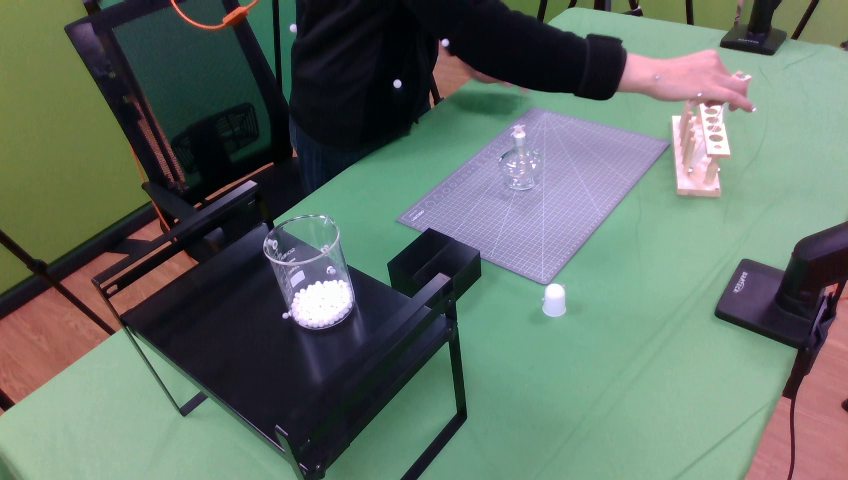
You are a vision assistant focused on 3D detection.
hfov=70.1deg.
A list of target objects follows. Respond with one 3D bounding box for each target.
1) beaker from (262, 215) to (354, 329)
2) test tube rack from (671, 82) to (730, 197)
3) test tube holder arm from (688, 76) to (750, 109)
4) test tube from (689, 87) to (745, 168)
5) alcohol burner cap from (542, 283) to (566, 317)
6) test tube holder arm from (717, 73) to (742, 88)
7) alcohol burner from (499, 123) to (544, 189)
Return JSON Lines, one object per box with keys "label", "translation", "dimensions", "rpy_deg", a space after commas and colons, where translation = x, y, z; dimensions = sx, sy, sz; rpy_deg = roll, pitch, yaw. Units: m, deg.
{"label": "beaker", "translation": [-0.112, 0.034, 0.616], "dimensions": [0.073, 0.101, 0.084], "rpy_deg": [13, 44, 23]}
{"label": "test tube rack", "translation": [0.482, -0.184, 1.067], "dimensions": [0.066, 0.085, 0.242], "rpy_deg": [6, 42, 15]}
{"label": "test tube holder arm", "translation": [0.427, -0.214, 0.871], "dimensions": [0.179, 0.015, 0.013], "rpy_deg": [-26, 48, -37]}
{"label": "test tube", "translation": [0.484, -0.187, 1.005], "dimensions": [0.017, 0.150, 0.017], "rpy_deg": [20, 24, -9]}
{"label": "alcohol burner cap", "translation": [0.181, 0.080, 0.840], "dimensions": [0.034, 0.048, 0.033], "rpy_deg": [-4, 41, 4]}
{"label": "test tube holder arm", "translation": [0.454, -0.233, 0.902], "dimensions": [0.010, 0.015, 0.088], "rpy_deg": [32, 42, 28]}
{"label": "alcohol burner", "translation": [0.168, -0.149, 1.048], "dimensions": [0.078, 0.119, 0.077], "rpy_deg": [-6, 41, 6]}
